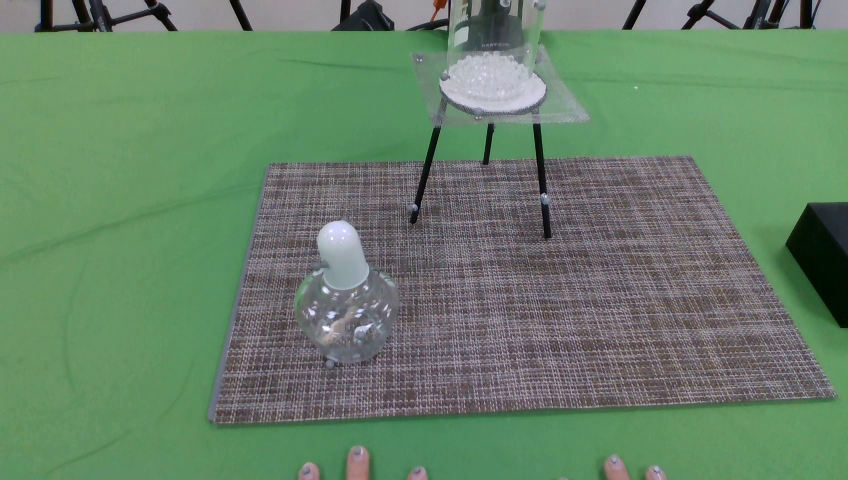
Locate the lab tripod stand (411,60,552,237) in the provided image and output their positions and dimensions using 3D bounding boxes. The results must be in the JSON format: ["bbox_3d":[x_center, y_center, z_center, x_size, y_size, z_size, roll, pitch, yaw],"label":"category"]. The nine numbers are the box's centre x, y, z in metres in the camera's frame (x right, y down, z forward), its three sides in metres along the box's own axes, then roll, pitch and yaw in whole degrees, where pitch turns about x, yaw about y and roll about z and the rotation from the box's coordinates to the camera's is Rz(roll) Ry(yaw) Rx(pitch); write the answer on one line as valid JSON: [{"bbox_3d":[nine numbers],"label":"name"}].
[{"bbox_3d":[0.060,-0.080,0.544,0.148,0.132,0.147,2,43,-2],"label":"lab tripod stand"}]

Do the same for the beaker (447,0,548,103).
[{"bbox_3d":[0.057,-0.166,0.467,0.073,0.101,0.083,24,47,20],"label":"beaker"}]

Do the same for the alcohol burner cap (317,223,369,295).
[{"bbox_3d":[-0.057,0.010,0.409,0.034,0.048,0.033,-3,42,3],"label":"alcohol burner cap"}]

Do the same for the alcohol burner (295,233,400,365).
[{"bbox_3d":[-0.055,0.036,0.434,0.078,0.120,0.077,2,45,-1],"label":"alcohol burner"}]

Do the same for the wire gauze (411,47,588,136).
[{"bbox_3d":[0.058,-0.124,0.495,0.125,0.011,0.120,-2,46,-10],"label":"wire gauze"}]
